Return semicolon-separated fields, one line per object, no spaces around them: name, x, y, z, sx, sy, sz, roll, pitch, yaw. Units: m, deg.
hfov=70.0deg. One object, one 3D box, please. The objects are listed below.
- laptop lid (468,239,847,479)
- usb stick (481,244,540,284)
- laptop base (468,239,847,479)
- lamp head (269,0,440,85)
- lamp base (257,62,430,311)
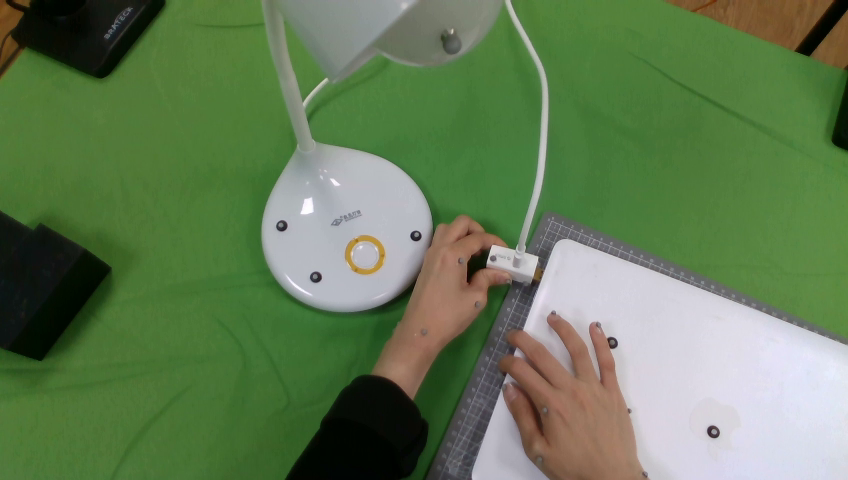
laptop lid;0.238;0.160;0.508;0.356;0.013;0.240;23;73;7
usb stick;0.083;0.024;0.553;0.059;0.027;0.021;17;67;4
laptop base;0.239;0.162;0.519;0.354;0.023;0.234;21;74;6
lamp head;-0.029;-0.133;0.211;0.112;0.112;0.123;-44;100;-16
lamp base;-0.081;-0.048;0.500;0.160;0.181;0.178;-35;71;-14
